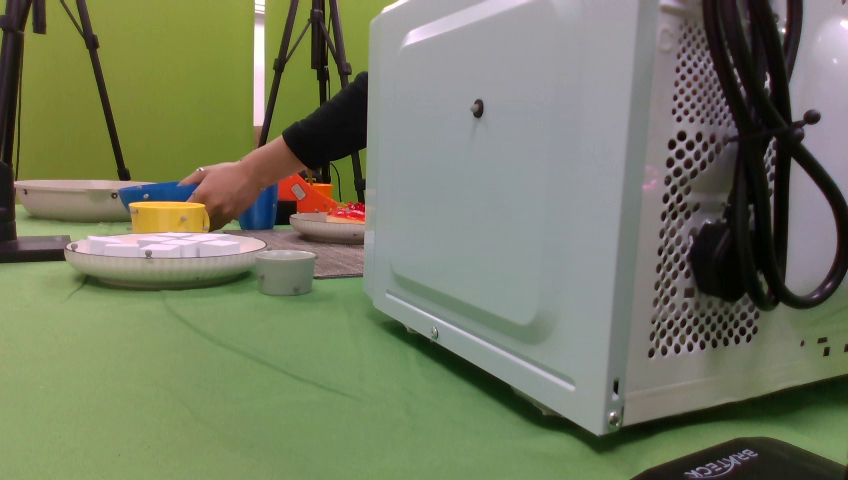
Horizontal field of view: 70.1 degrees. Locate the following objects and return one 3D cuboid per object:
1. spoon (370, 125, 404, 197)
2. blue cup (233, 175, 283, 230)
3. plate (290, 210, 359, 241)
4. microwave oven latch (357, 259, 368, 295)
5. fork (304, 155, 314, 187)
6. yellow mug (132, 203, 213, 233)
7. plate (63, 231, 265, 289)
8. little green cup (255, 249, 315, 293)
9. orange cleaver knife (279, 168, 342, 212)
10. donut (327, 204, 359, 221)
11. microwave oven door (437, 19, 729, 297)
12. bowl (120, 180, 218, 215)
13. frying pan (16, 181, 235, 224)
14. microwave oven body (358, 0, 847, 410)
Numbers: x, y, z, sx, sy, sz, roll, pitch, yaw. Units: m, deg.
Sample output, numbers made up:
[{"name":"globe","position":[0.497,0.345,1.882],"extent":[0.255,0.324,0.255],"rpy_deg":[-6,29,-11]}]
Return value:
[{"name":"spoon","position":[-0.085,-0.177,1.334],"extent":[0.042,0.193,0.021],"rpy_deg":[-9,-20,-23]},{"name":"blue cup","position":[-0.314,-0.071,1.141],"extent":[0.093,0.100,0.092],"rpy_deg":[-1,7,0]},{"name":"plate","position":[-0.127,-0.025,1.051],"extent":[0.209,0.038,0.209],"rpy_deg":[2,7,0]},{"name":"microwave oven latch","position":[-0.019,0.031,0.529],"extent":[0.079,0.029,0.030],"rpy_deg":[-1,7,-26]},{"name":"fork","position":[-0.268,-0.134,1.446],"extent":[0.028,0.018,0.207],"rpy_deg":[2,-36,-1]},{"name":"yellow mug","position":[-0.355,-0.020,0.878],"extent":[0.099,0.064,0.131],"rpy_deg":[4,7,22]},{"name":"plate","position":[-0.288,0.021,0.687],"extent":[0.208,0.039,0.207],"rpy_deg":[2,8,0]},{"name":"little green cup","position":[-0.144,0.032,0.627],"extent":[0.061,0.038,0.061],"rpy_deg":[2,5,0]},{"name":"orange cleaver knife","position":[-0.237,-0.084,1.332],"extent":[0.212,0.077,0.012],"rpy_deg":[31,-9,-31]},{"name":"donut","position":[-0.120,-0.037,1.056],"extent":[0.099,0.048,0.099],"rpy_deg":[5,6,0]},{"name":"microwave oven door","position":[0.180,-0.076,0.618],"extent":[0.358,0.243,0.039],"rpy_deg":[-2,8,-28]},{"name":"bowl","position":[-0.418,-0.054,1.009],"extent":[0.151,0.077,0.151],"rpy_deg":[-5,11,1]},{"name":"frying pan","position":[-0.554,-0.097,1.266],"extent":[0.490,0.102,0.305],"rpy_deg":[-10,13,-24]},{"name":"microwave oven body","position":[0.210,-0.051,0.471],"extent":[0.444,0.260,0.324],"rpy_deg":[-1,7,-28]}]
